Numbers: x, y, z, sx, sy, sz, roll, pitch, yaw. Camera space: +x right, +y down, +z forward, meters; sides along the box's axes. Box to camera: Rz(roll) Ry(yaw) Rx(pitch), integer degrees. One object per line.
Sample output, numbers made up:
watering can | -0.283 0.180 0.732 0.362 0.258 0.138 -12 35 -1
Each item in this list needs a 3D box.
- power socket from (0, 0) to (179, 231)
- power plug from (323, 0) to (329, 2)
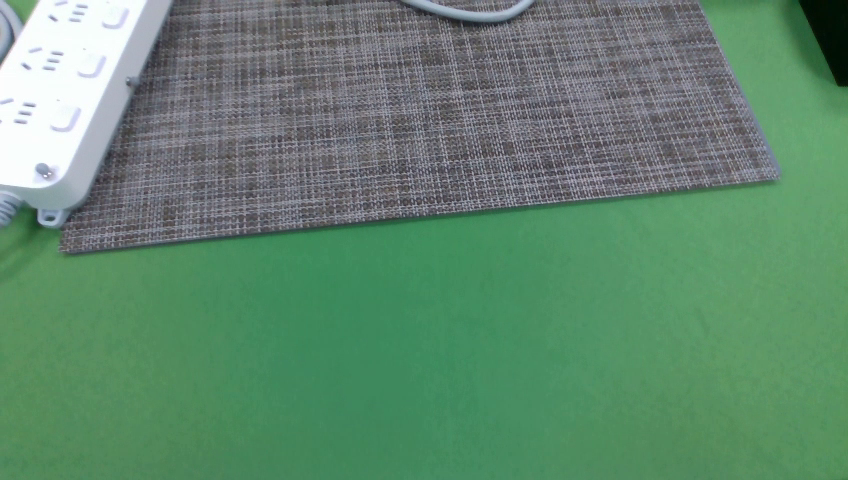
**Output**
power socket | -0.225 -0.113 0.396 0.072 0.033 0.225 7 63 2
power plug | -0.064 -0.207 0.455 0.052 0.035 0.072 9 44 31
